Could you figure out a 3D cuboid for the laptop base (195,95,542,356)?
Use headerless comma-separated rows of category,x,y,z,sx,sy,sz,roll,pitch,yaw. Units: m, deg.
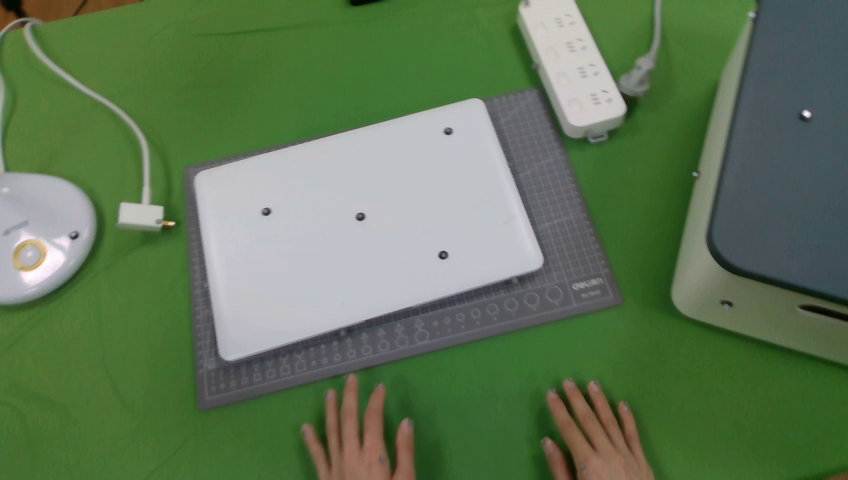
laptop base,-0.071,-0.026,0.686,0.354,0.023,0.233,-16,69,-4

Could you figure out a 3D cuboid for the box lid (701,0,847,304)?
box lid,0.406,-0.108,0.529,0.262,0.015,0.369,17,69,11

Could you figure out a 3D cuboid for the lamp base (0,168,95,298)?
lamp base,-0.476,-0.048,0.635,0.160,0.182,0.177,-41,66,-14

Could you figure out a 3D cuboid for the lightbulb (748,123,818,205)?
lightbulb,0.374,-0.085,0.644,0.059,0.060,0.106,-5,52,3

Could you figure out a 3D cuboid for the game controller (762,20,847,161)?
game controller,0.422,-0.160,0.618,0.097,0.052,0.154,-7,65,3

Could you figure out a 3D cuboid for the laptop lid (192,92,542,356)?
laptop lid,-0.072,-0.029,0.674,0.357,0.013,0.239,-15,68,-3

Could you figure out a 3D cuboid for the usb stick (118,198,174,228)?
usb stick,-0.317,-0.029,0.692,0.059,0.021,0.027,10,67,-28

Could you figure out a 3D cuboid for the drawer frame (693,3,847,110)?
drawer frame,0.400,-0.120,0.594,0.083,0.212,0.202,-42,103,-1

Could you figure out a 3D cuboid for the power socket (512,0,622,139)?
power socket,0.174,-0.226,0.751,0.072,0.033,0.224,-15,65,-4

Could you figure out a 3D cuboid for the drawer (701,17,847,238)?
drawer,0.420,-0.117,0.640,0.194,0.074,0.211,15,73,14

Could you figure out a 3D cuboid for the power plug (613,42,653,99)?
power plug,0.258,-0.200,0.731,0.072,0.053,0.035,-32,62,-29

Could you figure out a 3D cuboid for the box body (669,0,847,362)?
box body,0.410,-0.075,0.596,0.253,0.161,0.362,17,68,11
